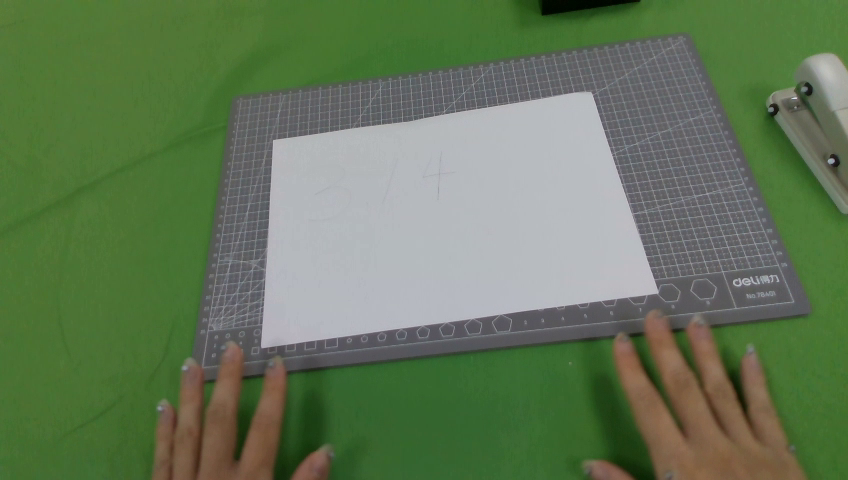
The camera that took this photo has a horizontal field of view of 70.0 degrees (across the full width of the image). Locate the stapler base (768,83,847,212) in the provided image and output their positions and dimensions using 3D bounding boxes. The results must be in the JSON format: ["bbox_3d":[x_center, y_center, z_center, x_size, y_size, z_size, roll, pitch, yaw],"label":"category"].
[{"bbox_3d":[0.325,-0.083,0.484,0.041,0.024,0.129,-15,59,3],"label":"stapler base"}]

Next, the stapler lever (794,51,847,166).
[{"bbox_3d":[0.322,-0.095,0.461,0.027,0.040,0.117,-15,59,3],"label":"stapler lever"}]
